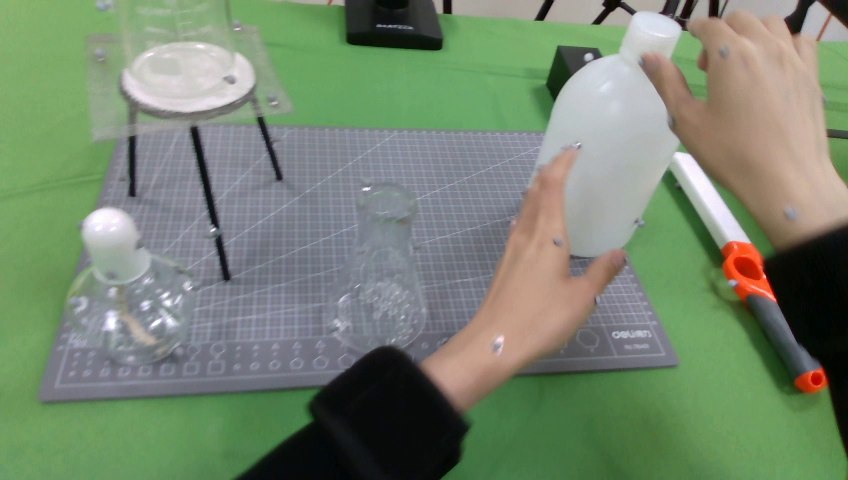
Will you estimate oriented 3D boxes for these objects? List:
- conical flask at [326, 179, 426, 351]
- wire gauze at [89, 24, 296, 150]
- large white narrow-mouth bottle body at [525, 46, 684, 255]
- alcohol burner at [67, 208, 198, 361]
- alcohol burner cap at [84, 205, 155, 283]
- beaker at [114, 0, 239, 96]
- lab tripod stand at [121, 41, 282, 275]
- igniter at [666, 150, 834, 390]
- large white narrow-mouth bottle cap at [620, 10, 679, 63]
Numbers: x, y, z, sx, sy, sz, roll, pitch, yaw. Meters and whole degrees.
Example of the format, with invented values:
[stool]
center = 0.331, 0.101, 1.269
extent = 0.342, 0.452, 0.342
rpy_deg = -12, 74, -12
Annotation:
[conical flask]
center = -0.029, 0.015, 0.417
extent = 0.075, 0.123, 0.074
rpy_deg = 5, 46, -5
[wire gauze]
center = -0.161, -0.114, 0.417
extent = 0.122, 0.011, 0.123
rpy_deg = -12, 54, -19
[large white narrow-mouth bottle body]
center = 0.151, -0.084, 0.494
extent = 0.102, 0.196, 0.101
rpy_deg = 5, 46, -4
[alcohol burner]
center = -0.187, 0.024, 0.385
extent = 0.078, 0.120, 0.077
rpy_deg = 7, 44, -6
[alcohol burner cap]
center = -0.182, 0.001, 0.359
extent = 0.034, 0.048, 0.033
rpy_deg = 5, 52, -6
[beaker]
center = -0.159, -0.150, 0.383
extent = 0.084, 0.101, 0.073
rpy_deg = -5, 49, -15
[lab tripod stand]
center = -0.166, -0.068, 0.463
extent = 0.149, 0.132, 0.147
rpy_deg = 7, 46, -7
[igniter]
center = 0.284, 0.012, 0.548
extent = 0.057, 0.025, 0.273
rpy_deg = 8, 45, -18
[large white narrow-mouth bottle cap]
center = 0.160, -0.145, 0.432
extent = 0.038, 0.024, 0.037
rpy_deg = 5, 46, -5
